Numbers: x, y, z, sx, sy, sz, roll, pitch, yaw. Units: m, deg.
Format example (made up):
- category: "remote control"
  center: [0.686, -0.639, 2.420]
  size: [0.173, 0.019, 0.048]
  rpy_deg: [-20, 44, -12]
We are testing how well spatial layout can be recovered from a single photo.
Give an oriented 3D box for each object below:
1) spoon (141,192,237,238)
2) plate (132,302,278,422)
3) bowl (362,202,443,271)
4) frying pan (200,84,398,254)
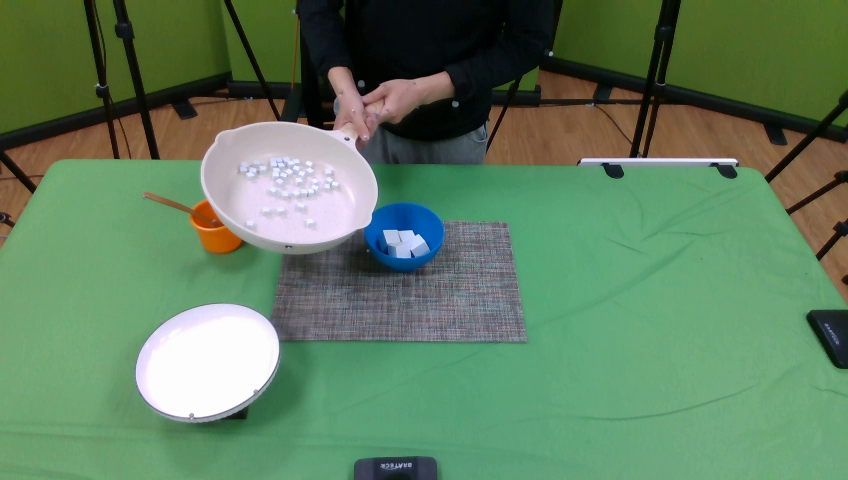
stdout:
- category: "spoon"
  center: [-0.428, -0.048, 1.123]
  size: [0.021, 0.195, 0.041]
  rpy_deg: [-39, 44, 20]
- category: "plate"
  center: [-0.325, 0.186, 0.916]
  size: [0.208, 0.039, 0.206]
  rpy_deg: [3, 44, -2]
- category: "bowl"
  center: [-0.040, 0.006, 1.145]
  size: [0.151, 0.077, 0.150]
  rpy_deg: [2, 46, -2]
- category: "frying pan"
  center: [-0.179, -0.155, 1.104]
  size: [0.306, 0.103, 0.486]
  rpy_deg: [33, 55, 7]
